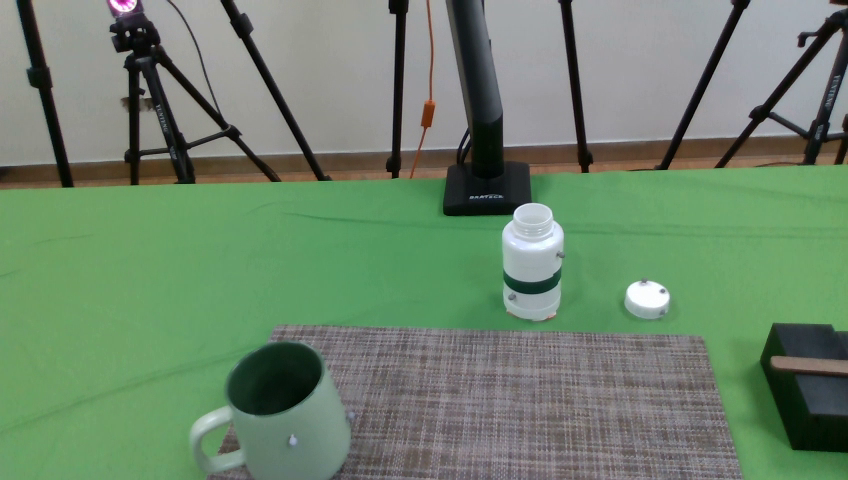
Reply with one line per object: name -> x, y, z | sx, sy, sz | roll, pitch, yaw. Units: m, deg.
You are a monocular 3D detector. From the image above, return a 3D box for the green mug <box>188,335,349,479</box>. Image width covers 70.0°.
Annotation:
green mug -> -0.130, 0.149, 0.506 | 0.125, 0.106, 0.091 | -20, 40, -17

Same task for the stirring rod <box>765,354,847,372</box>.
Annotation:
stirring rod -> 0.377, 0.105, 0.498 | 0.176, 0.006, 0.014 | 1, 41, 11

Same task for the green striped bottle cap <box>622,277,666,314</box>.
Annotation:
green striped bottle cap -> 0.235, 0.060, 0.648 | 0.044, 0.020, 0.044 | -4, 34, 3

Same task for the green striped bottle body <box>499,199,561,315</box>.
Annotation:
green striped bottle body -> 0.110, 0.016, 0.636 | 0.063, 0.120, 0.062 | -4, 38, 3
